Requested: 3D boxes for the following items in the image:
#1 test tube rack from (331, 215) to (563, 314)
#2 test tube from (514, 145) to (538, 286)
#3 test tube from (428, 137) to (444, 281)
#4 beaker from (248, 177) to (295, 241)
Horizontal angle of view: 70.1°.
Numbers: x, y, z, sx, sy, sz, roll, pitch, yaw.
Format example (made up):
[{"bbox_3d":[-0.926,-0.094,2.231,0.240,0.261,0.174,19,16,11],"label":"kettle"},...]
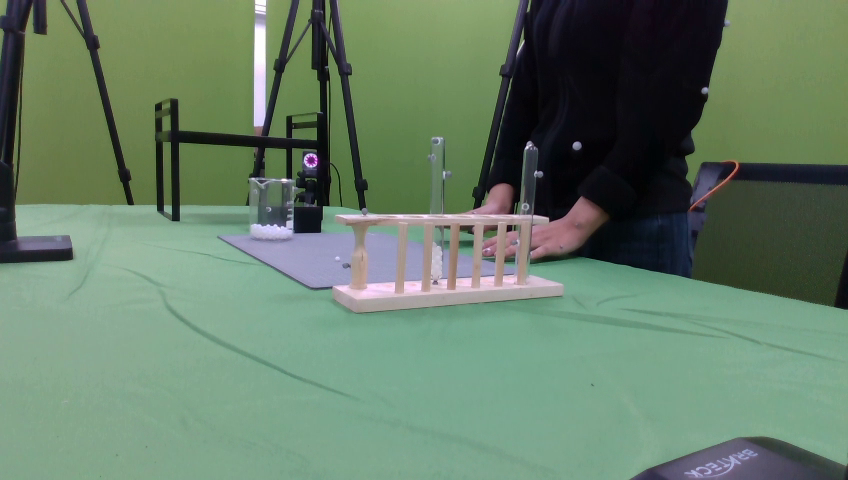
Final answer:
[{"bbox_3d":[0.031,0.019,0.625,0.243,0.085,0.066,-1,8,-28],"label":"test tube rack"},{"bbox_3d":[0.108,-0.024,0.638,0.017,0.150,0.017,2,9,0],"label":"test tube"},{"bbox_3d":[0.012,-0.032,0.631,0.017,0.150,0.017,1,3,0],"label":"test tube"},{"bbox_3d":[-0.252,-0.051,0.992,0.074,0.100,0.084,3,9,6],"label":"beaker"}]
